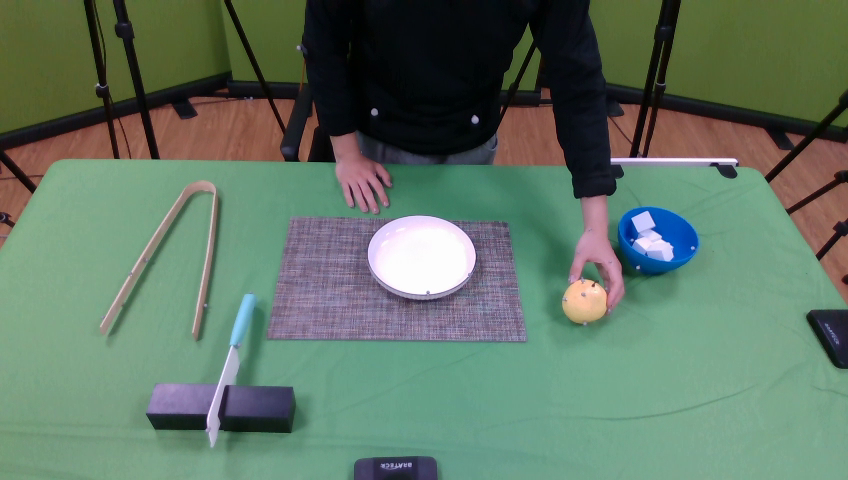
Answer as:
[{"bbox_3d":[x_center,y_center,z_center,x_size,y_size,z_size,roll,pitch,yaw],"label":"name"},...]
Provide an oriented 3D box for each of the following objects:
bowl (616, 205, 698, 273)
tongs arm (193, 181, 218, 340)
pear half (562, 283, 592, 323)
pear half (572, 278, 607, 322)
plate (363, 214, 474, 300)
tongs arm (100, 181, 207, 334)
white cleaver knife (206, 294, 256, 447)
[{"bbox_3d":[0.443,0.011,1.182,0.151,0.077,0.150,2,46,-2],"label":"bowl"},{"bbox_3d":[-0.413,0.024,1.140,0.028,0.028,0.385,-5,47,-7],"label":"tongs arm"},{"bbox_3d":[0.264,0.112,1.064,0.031,0.088,0.070,-19,62,-20],"label":"pear half"},{"bbox_3d":[0.297,0.096,1.067,0.056,0.110,0.076,-20,64,-18],"label":"pear half"},{"bbox_3d":[-0.010,0.036,1.146,0.208,0.039,0.206,3,46,-2],"label":"plate"},{"bbox_3d":[-0.494,0.018,1.132,0.051,0.026,0.382,7,45,0],"label":"tongs arm"},{"bbox_3d":[-0.305,0.191,0.956,0.021,0.066,0.284,5,36,-4],"label":"white cleaver knife"}]
